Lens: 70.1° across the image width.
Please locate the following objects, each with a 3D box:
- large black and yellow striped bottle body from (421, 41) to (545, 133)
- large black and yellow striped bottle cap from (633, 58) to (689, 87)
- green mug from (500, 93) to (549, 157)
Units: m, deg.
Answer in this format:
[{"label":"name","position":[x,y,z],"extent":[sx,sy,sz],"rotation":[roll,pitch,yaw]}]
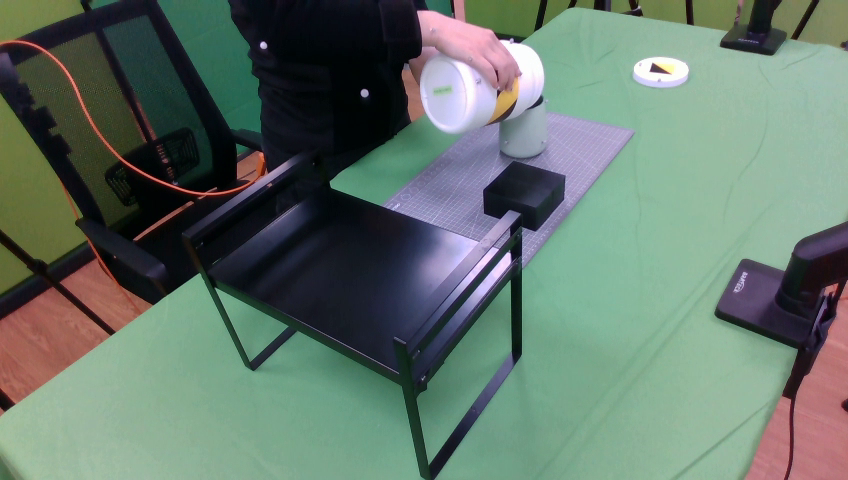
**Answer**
[{"label":"large black and yellow striped bottle body","position":[0.102,-0.259,1.007],"extent":[0.185,0.131,0.129],"rotation":[-22,41,-35]},{"label":"large black and yellow striped bottle cap","position":[0.522,-0.370,1.331],"extent":[0.115,0.019,0.114],"rotation":[-3,41,4]},{"label":"green mug","position":[0.196,-0.229,1.145],"extent":[0.092,0.105,0.125],"rotation":[15,46,25]}]
